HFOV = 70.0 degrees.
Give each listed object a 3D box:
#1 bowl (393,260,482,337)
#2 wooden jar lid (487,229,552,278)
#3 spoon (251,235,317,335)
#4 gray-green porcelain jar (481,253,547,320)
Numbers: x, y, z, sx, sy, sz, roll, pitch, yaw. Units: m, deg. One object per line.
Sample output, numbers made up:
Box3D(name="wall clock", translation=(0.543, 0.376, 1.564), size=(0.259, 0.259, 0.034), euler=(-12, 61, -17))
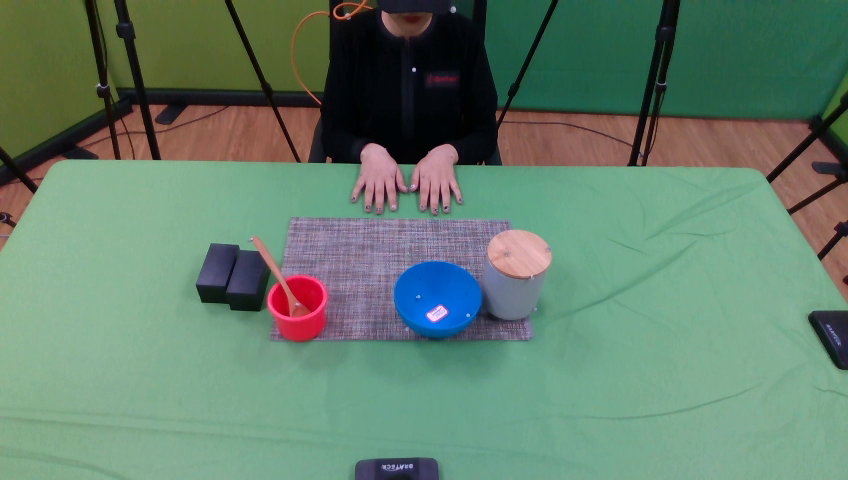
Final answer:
Box3D(name="bowl", translation=(0.021, 0.115, 1.045), size=(0.151, 0.077, 0.150), euler=(2, 46, -2))
Box3D(name="wooden jar lid", translation=(0.160, 0.026, 1.018), size=(0.108, 0.021, 0.107), euler=(2, 47, -1))
Box3D(name="spoon", translation=(-0.237, 0.075, 1.019), size=(0.041, 0.021, 0.194), euler=(-32, 100, -32))
Box3D(name="gray-green porcelain jar", translation=(0.156, 0.070, 1.064), size=(0.106, 0.127, 0.105), euler=(2, 46, -2))
